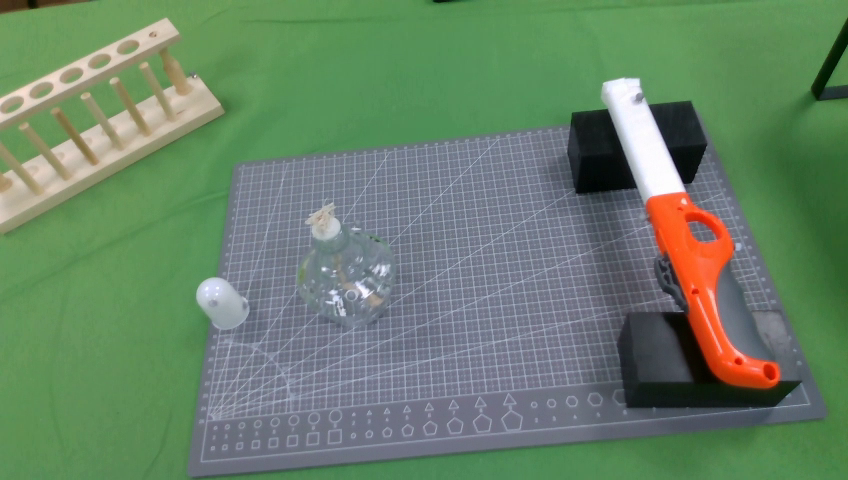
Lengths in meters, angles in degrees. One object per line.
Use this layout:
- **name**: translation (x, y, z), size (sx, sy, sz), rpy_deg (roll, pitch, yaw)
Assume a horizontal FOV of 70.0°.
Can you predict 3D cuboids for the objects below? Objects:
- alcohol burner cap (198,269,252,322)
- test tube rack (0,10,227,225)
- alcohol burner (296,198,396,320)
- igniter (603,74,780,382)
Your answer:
- **alcohol burner cap**: translation (-0.163, 0.042, 0.489), size (0.034, 0.048, 0.033), rpy_deg (-3, 58, 6)
- **test tube rack**: translation (-0.329, -0.121, 0.593), size (0.242, 0.086, 0.066), rpy_deg (-33, 59, -14)
- **alcohol burner**: translation (-0.062, 0.011, 0.454), size (0.078, 0.120, 0.077), rpy_deg (-4, 55, 6)
- **igniter**: translation (0.183, -0.025, 0.442), size (0.057, 0.025, 0.273), rpy_deg (-9, 55, 2)
